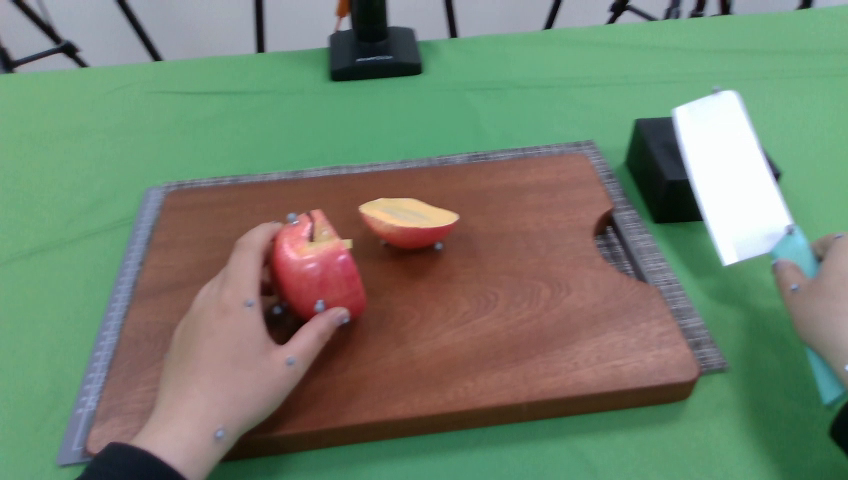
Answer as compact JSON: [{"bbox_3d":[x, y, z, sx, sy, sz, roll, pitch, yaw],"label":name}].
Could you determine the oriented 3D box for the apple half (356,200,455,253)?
[{"bbox_3d":[-0.019,-0.006,0.489,0.081,0.033,0.081,8,20,-2],"label":"apple half"}]

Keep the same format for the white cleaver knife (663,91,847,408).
[{"bbox_3d":[0.261,-0.006,0.485,0.066,0.022,0.283,-26,54,28],"label":"white cleaver knife"}]

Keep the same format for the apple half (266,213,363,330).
[{"bbox_3d":[-0.083,0.028,0.430,0.053,0.075,0.080,-26,51,-18],"label":"apple half"}]
